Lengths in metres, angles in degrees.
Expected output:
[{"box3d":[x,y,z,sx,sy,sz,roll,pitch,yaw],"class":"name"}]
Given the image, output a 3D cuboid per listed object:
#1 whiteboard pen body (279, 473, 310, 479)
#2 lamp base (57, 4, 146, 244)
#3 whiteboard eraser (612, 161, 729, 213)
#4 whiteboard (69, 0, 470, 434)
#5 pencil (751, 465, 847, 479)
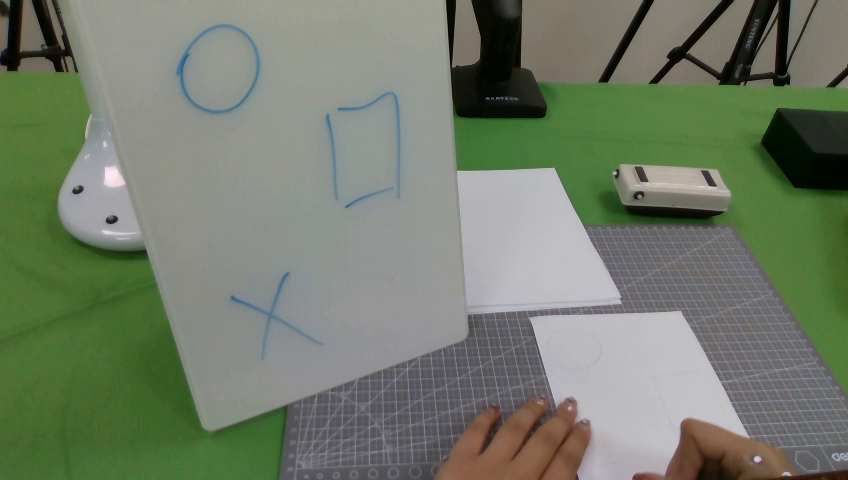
[{"box3d":[-0.139,0.176,0.377,0.141,0.017,0.017,-13,45,-21],"class":"whiteboard pen body"},{"box3d":[-0.284,-0.113,0.563,0.178,0.182,0.160,28,47,26],"class":"lamp base"},{"box3d":[0.267,-0.057,0.662,0.113,0.042,0.055,4,43,-1],"class":"whiteboard eraser"},{"box3d":[-0.100,-0.050,0.463,0.218,0.307,0.142,-16,27,-20],"class":"whiteboard"},{"box3d":[0.198,0.142,0.351,0.012,0.194,0.012,25,50,-34],"class":"pencil"}]
